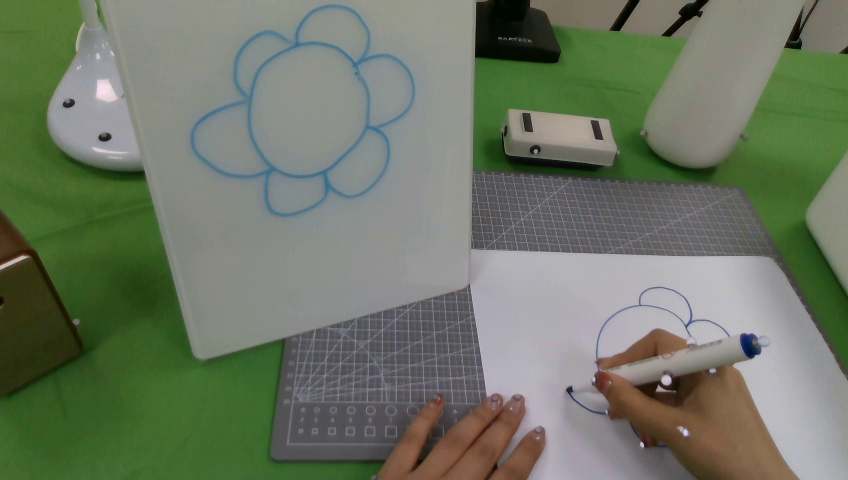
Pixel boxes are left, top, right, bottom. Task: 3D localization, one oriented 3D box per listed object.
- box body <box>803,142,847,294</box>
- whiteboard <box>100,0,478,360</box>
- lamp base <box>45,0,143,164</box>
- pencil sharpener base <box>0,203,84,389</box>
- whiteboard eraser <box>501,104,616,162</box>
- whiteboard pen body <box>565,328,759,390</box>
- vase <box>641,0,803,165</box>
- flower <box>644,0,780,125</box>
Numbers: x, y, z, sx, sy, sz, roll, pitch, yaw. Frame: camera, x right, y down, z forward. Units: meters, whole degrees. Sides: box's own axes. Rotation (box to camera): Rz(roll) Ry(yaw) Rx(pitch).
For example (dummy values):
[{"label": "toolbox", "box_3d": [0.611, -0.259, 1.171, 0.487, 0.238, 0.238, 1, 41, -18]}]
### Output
[{"label": "box body", "box_3d": [0.508, 0.049, 0.467, 0.254, 0.161, 0.360, 3, 48, -6]}, {"label": "whiteboard", "box_3d": [-0.090, -0.102, 0.439, 0.218, 0.308, 0.142, -13, 32, -20]}, {"label": "lamp base", "box_3d": [-0.271, -0.186, 0.528, 0.178, 0.182, 0.160, 33, 51, 22]}, {"label": "pencil sharpener base", "box_3d": [-0.274, 0.030, 0.380, 0.076, 0.108, 0.061, 38, 53, 24]}, {"label": "whiteboard eraser", "box_3d": [0.137, -0.108, 0.626, 0.113, 0.042, 0.055, 4, 45, -5]}, {"label": "whiteboard pen body", "box_3d": [0.148, 0.082, 0.397, 0.017, 0.140, 0.017, 20, 56, -33]}, {"label": "vase", "box_3d": [0.297, -0.173, 0.606, 0.098, 0.201, 0.097, 6, 47, -6]}, {"label": "flower", "box_3d": [0.318, -0.217, 0.538, 0.044, 0.363, 0.038, -19, 71, -33]}]
